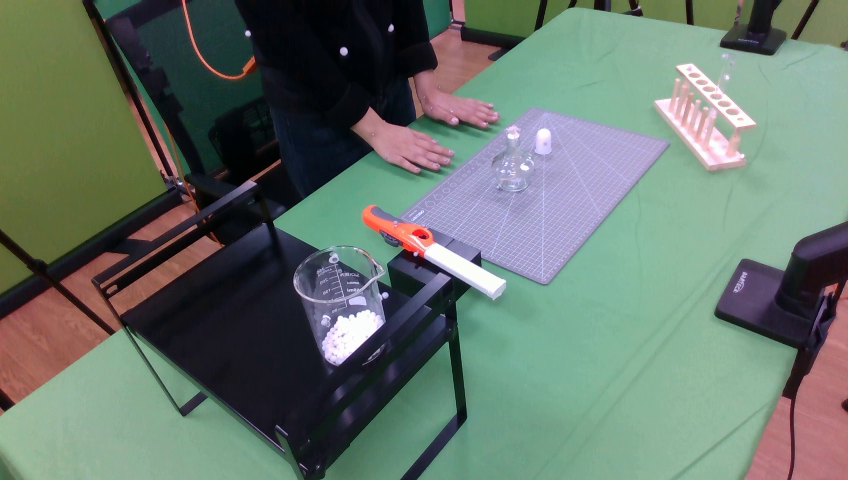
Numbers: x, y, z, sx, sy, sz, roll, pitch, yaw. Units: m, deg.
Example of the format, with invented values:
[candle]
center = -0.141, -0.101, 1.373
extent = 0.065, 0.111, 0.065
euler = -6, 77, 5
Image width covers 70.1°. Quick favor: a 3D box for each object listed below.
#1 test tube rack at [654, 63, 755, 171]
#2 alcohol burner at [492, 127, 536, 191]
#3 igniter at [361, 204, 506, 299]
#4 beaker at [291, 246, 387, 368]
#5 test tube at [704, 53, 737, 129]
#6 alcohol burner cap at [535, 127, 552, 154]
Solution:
[test tube rack]
center = 0.510, -0.233, 1.120
extent = 0.067, 0.085, 0.241
euler = -8, 41, -1
[alcohol burner]
center = 0.156, -0.146, 1.046
extent = 0.078, 0.119, 0.077
euler = -4, 43, 4
[igniter]
center = 0.003, 0.009, 0.887
extent = 0.274, 0.025, 0.057
euler = 30, 50, 33
[beaker]
center = -0.073, 0.066, 0.573
extent = 0.084, 0.101, 0.073
euler = -7, 41, 0
[test tube]
center = 0.526, -0.261, 1.074
extent = 0.017, 0.151, 0.017
euler = -2, 44, 2
[alcohol burner cap]
center = 0.227, -0.190, 1.142
extent = 0.034, 0.048, 0.033
euler = -3, 40, 3
